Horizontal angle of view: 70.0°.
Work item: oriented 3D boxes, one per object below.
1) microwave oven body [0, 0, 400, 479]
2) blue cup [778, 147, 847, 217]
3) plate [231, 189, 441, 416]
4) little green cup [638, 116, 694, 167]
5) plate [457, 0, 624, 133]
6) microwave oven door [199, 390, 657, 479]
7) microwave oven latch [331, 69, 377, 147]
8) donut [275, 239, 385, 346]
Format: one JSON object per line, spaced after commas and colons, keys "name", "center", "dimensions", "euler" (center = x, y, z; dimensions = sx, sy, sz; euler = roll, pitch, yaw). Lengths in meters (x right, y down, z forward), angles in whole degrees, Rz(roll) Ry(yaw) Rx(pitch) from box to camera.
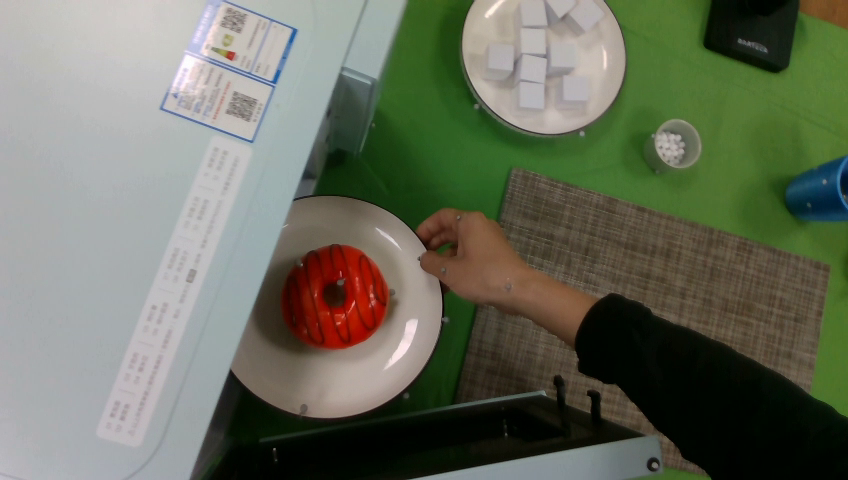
{"name": "microwave oven body", "center": [-0.252, -0.035, 0.528], "dimensions": [0.327, 0.260, 0.440], "euler": [19, 82, -9]}
{"name": "blue cup", "center": [0.505, -0.067, 0.757], "dimensions": [0.093, 0.100, 0.092], "euler": [1, 86, -10]}
{"name": "plate", "center": [-0.090, 0.056, 0.561], "dimensions": [0.210, 0.038, 0.208], "euler": [3, 75, -10]}
{"name": "little green cup", "center": [0.299, -0.121, 0.755], "dimensions": [0.062, 0.038, 0.061], "euler": [1, 84, -10]}
{"name": "plate", "center": [0.139, -0.228, 0.736], "dimensions": [0.208, 0.039, 0.207], "euler": [1, 84, -10]}
{"name": "microwave oven door", "center": [-0.014, 0.194, 0.547], "dimensions": [0.357, 0.244, 0.039], "euler": [-6, 84, -11]}
{"name": "microwave oven latch", "center": [-0.077, -0.145, 0.669], "dimensions": [0.030, 0.029, 0.079], "euler": [23, 82, -8]}
{"name": "donut", "center": [-0.085, 0.048, 0.552], "dimensions": [0.099, 0.048, 0.098], "euler": [2, 75, -9]}
